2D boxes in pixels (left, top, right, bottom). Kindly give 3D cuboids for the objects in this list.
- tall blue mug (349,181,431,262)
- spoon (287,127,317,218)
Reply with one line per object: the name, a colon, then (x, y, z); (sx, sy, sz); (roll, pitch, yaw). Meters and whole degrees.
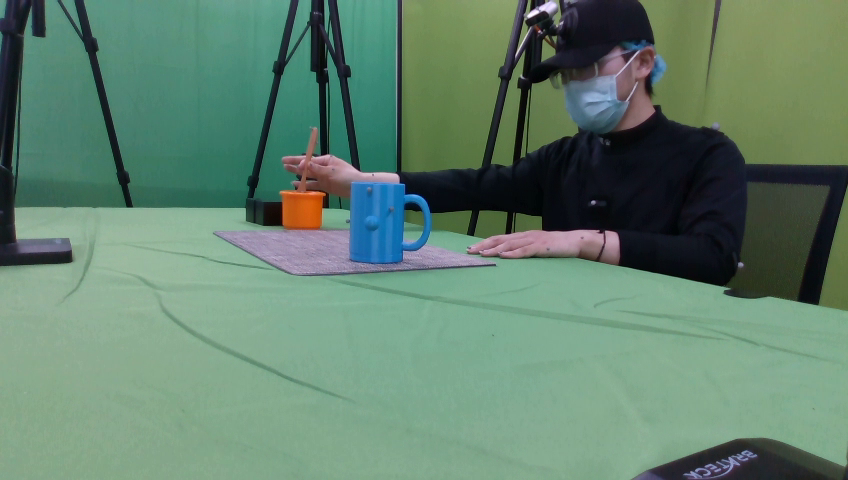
tall blue mug: (-0.052, -0.028, 0.849); (0.108, 0.108, 0.077); (-1, 7, -22)
spoon: (-0.241, -0.137, 1.226); (0.041, 0.193, 0.021); (11, -3, 9)
